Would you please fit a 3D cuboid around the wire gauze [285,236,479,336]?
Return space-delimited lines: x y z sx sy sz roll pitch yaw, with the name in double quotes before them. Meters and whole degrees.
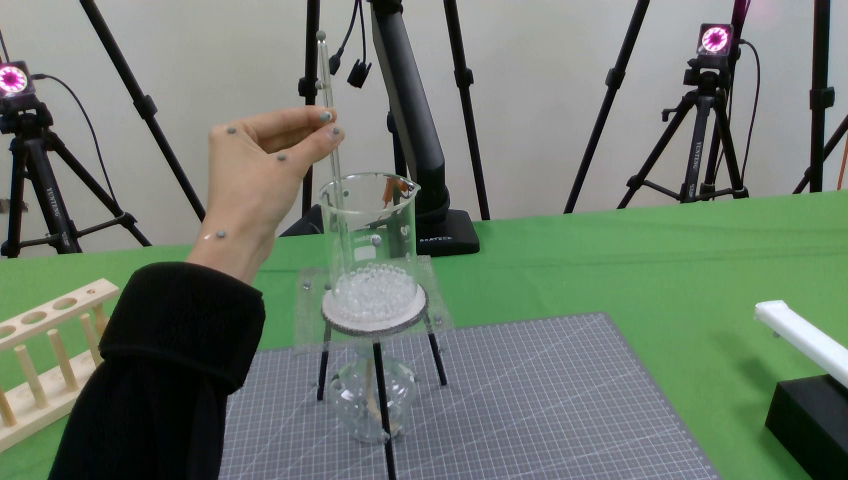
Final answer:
"wire gauze" -0.037 0.035 0.486 0.125 0.011 0.120 -12 28 -27

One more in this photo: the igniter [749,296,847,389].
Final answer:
"igniter" 0.364 0.121 0.491 0.057 0.025 0.274 -7 25 -7

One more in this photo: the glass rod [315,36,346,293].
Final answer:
"glass rod" -0.068 -0.046 0.448 0.008 0.201 0.008 -1 28 1

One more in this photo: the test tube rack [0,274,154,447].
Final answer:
"test tube rack" -0.389 0.129 0.562 0.066 0.086 0.242 19 35 34

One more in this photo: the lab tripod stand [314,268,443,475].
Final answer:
"lab tripod stand" -0.039 0.104 0.529 0.148 0.132 0.147 0 30 0

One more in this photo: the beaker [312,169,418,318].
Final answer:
"beaker" -0.041 0.003 0.475 0.084 0.101 0.073 -16 33 -25

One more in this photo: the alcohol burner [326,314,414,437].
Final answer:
"alcohol burner" -0.048 0.114 0.533 0.078 0.120 0.077 0 28 0
